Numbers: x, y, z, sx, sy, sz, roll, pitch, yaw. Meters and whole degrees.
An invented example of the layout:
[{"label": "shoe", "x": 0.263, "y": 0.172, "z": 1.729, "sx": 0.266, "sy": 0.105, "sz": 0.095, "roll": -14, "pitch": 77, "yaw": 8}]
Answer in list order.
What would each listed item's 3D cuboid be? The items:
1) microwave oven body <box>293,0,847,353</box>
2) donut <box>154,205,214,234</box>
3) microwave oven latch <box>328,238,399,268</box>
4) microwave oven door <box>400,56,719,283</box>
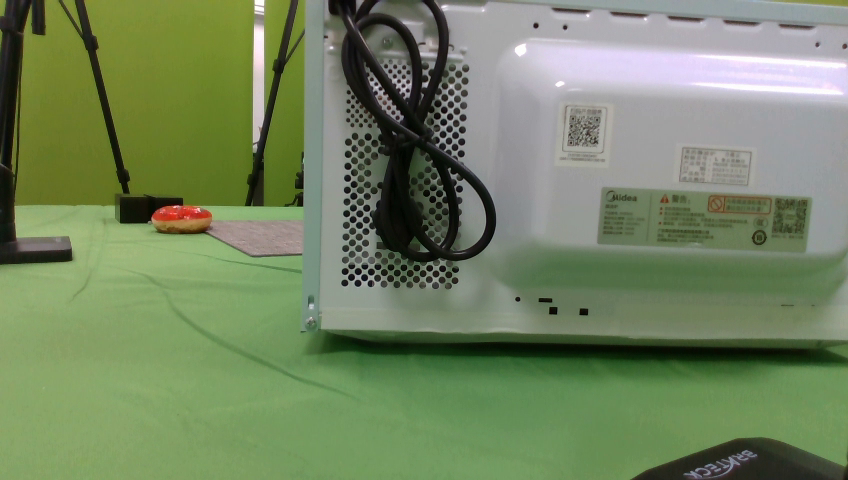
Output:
[{"label": "microwave oven body", "x": 0.122, "y": -0.055, "z": 0.550, "sx": 0.442, "sy": 0.260, "sz": 0.325, "roll": 3, "pitch": 7, "yaw": -5}, {"label": "donut", "x": -0.426, "y": -0.037, "z": 1.074, "sx": 0.099, "sy": 0.048, "sz": 0.099, "roll": 2, "pitch": 12, "yaw": 0}, {"label": "microwave oven latch", "x": -0.069, "y": 0.015, "z": 0.694, "sx": 0.079, "sy": 0.029, "sz": 0.030, "roll": 3, "pitch": 7, "yaw": -3}, {"label": "microwave oven door", "x": 0.155, "y": -0.077, "z": 0.697, "sx": 0.356, "sy": 0.243, "sz": 0.039, "roll": 2, "pitch": 8, "yaw": -5}]
